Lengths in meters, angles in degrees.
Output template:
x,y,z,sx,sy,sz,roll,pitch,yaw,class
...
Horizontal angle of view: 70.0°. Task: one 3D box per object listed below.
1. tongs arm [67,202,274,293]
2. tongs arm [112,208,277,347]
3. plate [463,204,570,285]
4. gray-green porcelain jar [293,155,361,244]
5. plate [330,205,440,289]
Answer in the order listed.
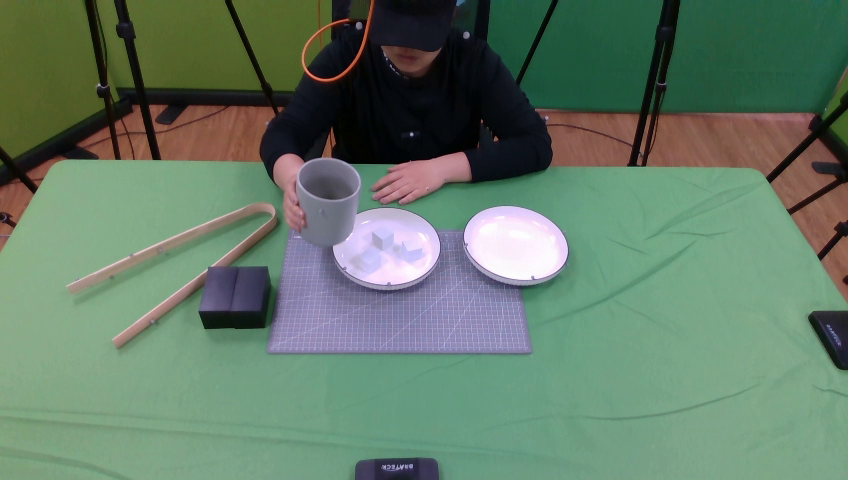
x,y,z,sx,sy,sz,roll,pitch,yaw,class
-0.461,0.013,1.142,0.385,0.026,0.050,-31,56,-31,tongs arm
-0.401,0.058,1.108,0.028,0.028,0.387,26,49,23,tongs arm
0.178,0.012,1.184,0.209,0.038,0.208,3,46,-3,plate
-0.168,-0.063,1.035,0.106,0.127,0.105,8,48,-9,gray-green porcelain jar
-0.074,0.017,1.160,0.208,0.039,0.206,2,46,-2,plate
